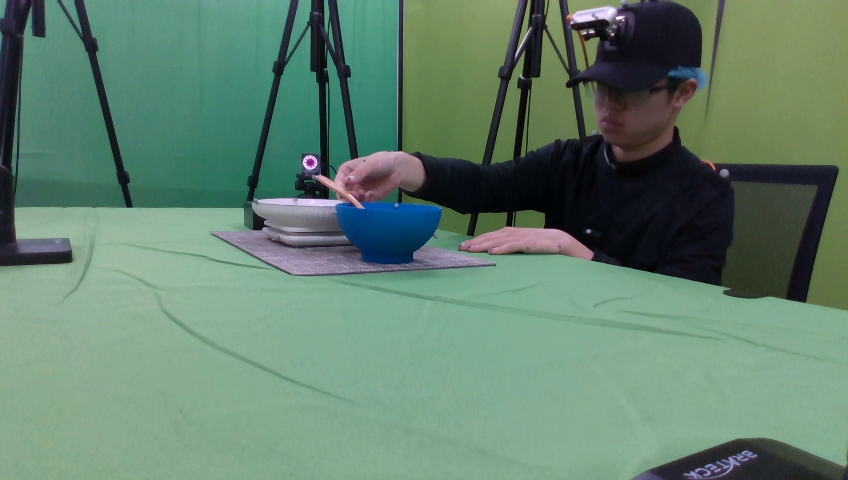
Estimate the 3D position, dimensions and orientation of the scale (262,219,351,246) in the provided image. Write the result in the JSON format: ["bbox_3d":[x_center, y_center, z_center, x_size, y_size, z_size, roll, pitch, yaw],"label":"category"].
[{"bbox_3d":[-0.160,-0.015,1.027,0.202,0.031,0.148,-2,8,-32],"label":"scale"}]

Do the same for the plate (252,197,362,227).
[{"bbox_3d":[-0.178,-0.047,1.012,0.209,0.038,0.209,2,6,0],"label":"plate"}]

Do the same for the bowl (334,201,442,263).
[{"bbox_3d":[-0.051,-0.012,0.849,0.151,0.077,0.151,2,7,0],"label":"bowl"}]

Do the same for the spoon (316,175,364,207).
[{"bbox_3d":[-0.103,-0.054,0.882,0.042,0.021,0.193,-17,43,-37],"label":"spoon"}]
